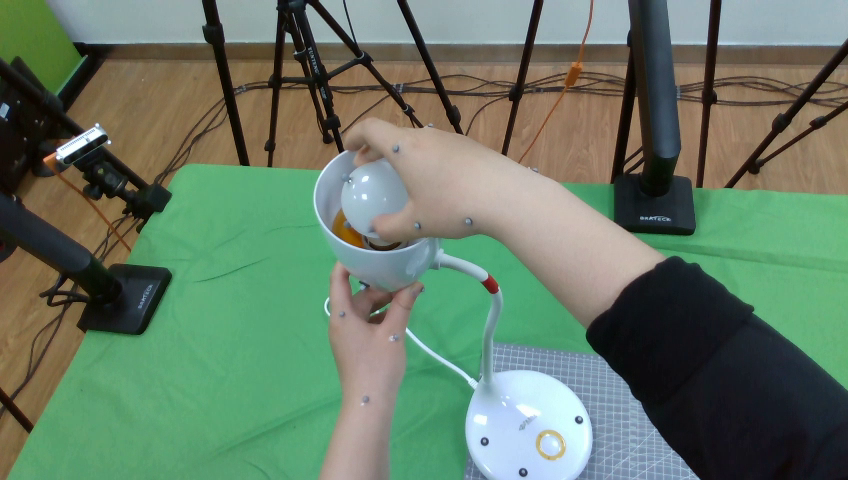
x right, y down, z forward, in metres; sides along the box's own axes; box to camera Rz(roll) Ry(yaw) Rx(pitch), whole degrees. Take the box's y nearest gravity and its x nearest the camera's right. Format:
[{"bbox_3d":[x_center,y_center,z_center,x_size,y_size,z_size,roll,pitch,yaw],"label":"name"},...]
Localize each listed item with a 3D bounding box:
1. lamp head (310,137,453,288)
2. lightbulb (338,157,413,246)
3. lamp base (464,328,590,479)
[{"bbox_3d":[-0.030,-0.010,0.524,0.112,0.124,0.111,-2,57,4],"label":"lamp head"},{"bbox_3d":[-0.038,-0.024,0.497,0.059,0.108,0.059,0,62,0],"label":"lightbulb"},{"bbox_3d":[0.111,0.184,0.722,0.177,0.182,0.160,28,62,29],"label":"lamp base"}]
